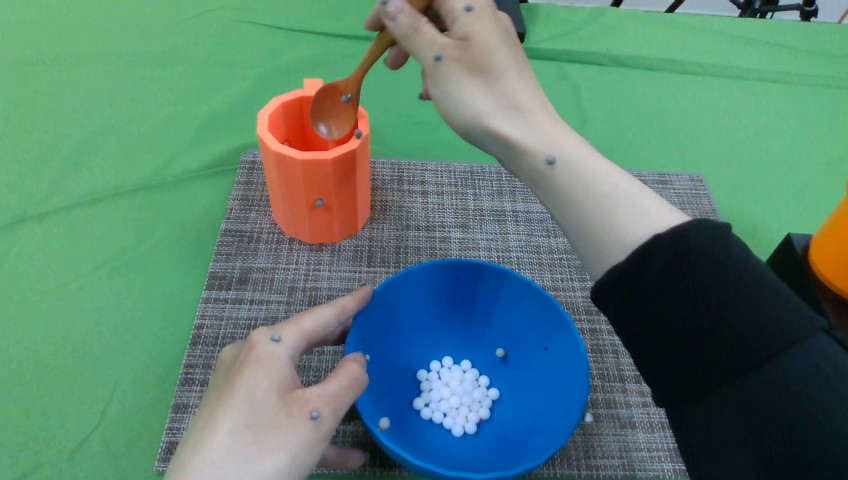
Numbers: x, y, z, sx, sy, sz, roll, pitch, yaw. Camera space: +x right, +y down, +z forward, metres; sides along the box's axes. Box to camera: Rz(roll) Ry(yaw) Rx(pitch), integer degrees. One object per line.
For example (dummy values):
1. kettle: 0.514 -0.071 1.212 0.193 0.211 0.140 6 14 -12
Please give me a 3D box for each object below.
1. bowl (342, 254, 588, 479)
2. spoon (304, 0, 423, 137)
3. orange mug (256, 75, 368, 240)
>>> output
1. bowl: 0.023 0.091 0.395 0.151 0.077 0.150 3 50 -3
2. spoon: -0.042 -0.124 0.421 0.021 0.193 0.041 -38 94 -32
3. orange mug: -0.092 -0.077 0.511 0.083 0.101 0.125 -4 56 -9
